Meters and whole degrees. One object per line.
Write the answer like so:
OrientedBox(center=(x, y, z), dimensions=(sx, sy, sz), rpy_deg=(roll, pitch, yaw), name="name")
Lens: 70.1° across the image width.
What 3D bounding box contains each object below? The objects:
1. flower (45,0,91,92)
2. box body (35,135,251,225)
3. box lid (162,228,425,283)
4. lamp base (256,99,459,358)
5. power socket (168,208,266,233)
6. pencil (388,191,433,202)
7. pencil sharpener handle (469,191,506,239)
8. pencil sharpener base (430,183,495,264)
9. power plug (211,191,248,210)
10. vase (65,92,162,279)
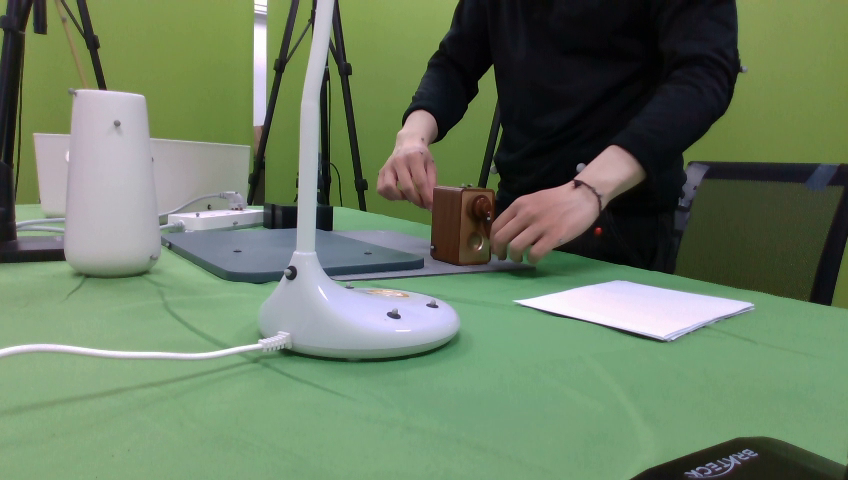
OrientedBox(center=(-0.361, -0.142, 0.663), dimensions=(0.044, 0.361, 0.038), rpy_deg=(-12, 11, 30), name="flower")
OrientedBox(center=(-0.559, -0.127, 1.257), dimensions=(0.253, 0.160, 0.365), rpy_deg=(4, 8, 15), name="box body")
OrientedBox(center=(-0.200, 0.014, 0.861), dimensions=(0.265, 0.015, 0.369), rpy_deg=(-4, 9, -35), name="box lid")
OrientedBox(center=(-0.055, -0.013, 0.463), dimensions=(0.160, 0.180, 0.180), rpy_deg=(6, 11, 27), name="lamp base")
OrientedBox(center=(-0.379, -0.038, 1.129), dimensions=(0.072, 0.032, 0.227), rpy_deg=(4, 8, 18), name="power socket")
OrientedBox(center=(-0.004, -0.064, 0.929), dimensions=(0.012, 0.012, 0.193), rpy_deg=(-3, 8, -33), name="pencil")
OrientedBox(center=(0.088, -0.032, 0.803), dimensions=(0.036, 0.068, 0.030), rpy_deg=(-32, 23, -25), name="pencil sharpener handle")
OrientedBox(center=(0.054, -0.024, 0.843), dimensions=(0.062, 0.107, 0.076), rpy_deg=(-2, 8, -32), name="pencil sharpener base")
OrientedBox(center=(-0.384, -0.071, 1.205), dimensions=(0.072, 0.052, 0.035), rpy_deg=(1, 9, 28), name="power plug")
OrientedBox(center=(-0.347, -0.060, 0.673), dimensions=(0.098, 0.200, 0.098), rpy_deg=(1, 7, 0), name="vase")
